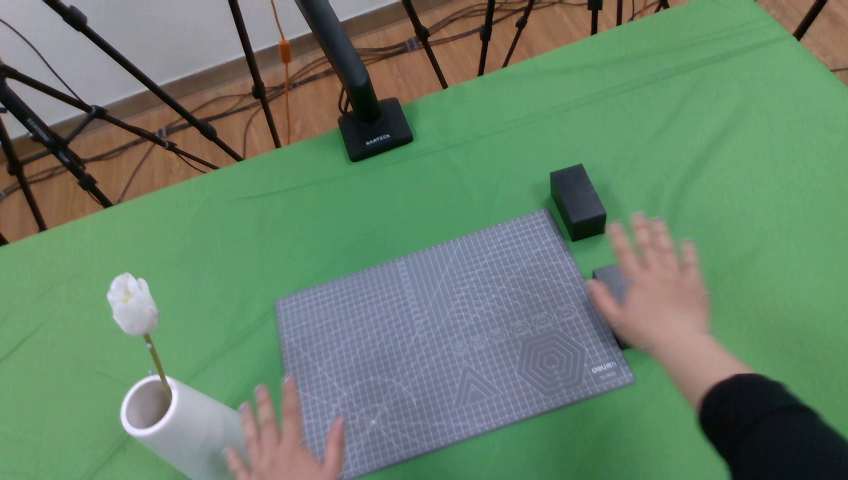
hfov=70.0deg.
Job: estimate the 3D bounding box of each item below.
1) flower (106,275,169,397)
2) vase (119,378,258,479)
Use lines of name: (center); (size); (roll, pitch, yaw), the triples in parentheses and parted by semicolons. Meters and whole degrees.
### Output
flower: (-0.283, 0.179, 0.677); (0.038, 0.365, 0.043); (-23, 47, -26)
vase: (-0.280, 0.236, 0.738); (0.098, 0.202, 0.097); (-5, 55, 8)
